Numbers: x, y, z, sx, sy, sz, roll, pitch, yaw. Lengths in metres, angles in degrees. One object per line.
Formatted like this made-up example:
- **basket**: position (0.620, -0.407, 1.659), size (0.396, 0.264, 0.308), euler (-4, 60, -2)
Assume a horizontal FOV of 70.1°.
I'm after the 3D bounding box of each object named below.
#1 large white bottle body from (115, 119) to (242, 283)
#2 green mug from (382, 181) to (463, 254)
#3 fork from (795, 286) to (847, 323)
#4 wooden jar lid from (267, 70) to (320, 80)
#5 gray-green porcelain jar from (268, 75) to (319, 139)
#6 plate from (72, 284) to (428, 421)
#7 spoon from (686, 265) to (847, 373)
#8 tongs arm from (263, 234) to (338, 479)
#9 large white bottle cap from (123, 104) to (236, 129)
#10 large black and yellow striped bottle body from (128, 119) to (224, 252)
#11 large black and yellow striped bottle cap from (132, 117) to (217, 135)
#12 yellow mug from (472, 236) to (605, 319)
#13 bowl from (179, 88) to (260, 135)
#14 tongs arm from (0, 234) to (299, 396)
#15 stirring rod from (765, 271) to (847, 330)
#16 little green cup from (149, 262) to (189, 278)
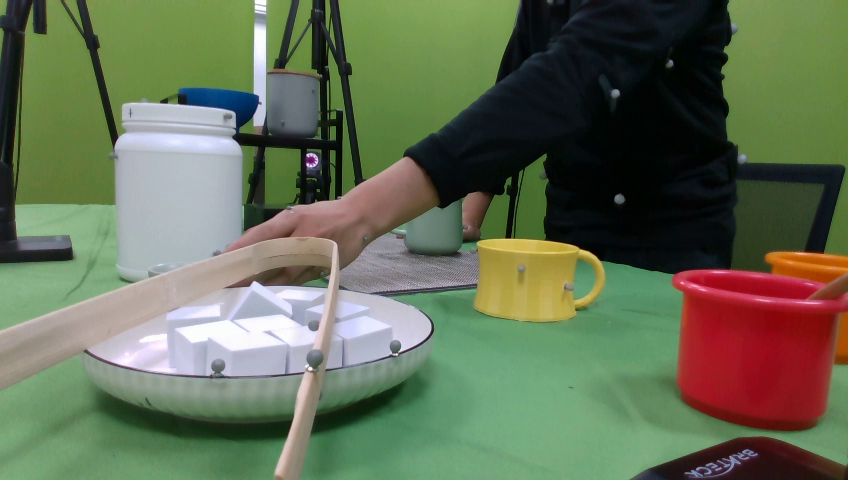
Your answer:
- **large white bottle body**: position (-0.270, -0.051, 0.674), size (0.131, 0.184, 0.130), euler (2, 8, 0)
- **green mug**: position (-0.001, -0.036, 0.922), size (0.126, 0.105, 0.092), euler (0, 8, -16)
- **fork**: position (0.332, 0.018, 0.443), size (0.028, 0.018, 0.207), euler (-3, -35, -16)
- **wooden jar lid**: position (-0.275, -0.339, 1.271), size (0.108, 0.020, 0.108), euler (5, 6, 0)
- **gray-green porcelain jar**: position (-0.277, -0.278, 1.280), size (0.106, 0.126, 0.106), euler (2, 8, 0)
- **plate**: position (-0.102, 0.067, 0.381), size (0.208, 0.039, 0.207), euler (3, 7, 0)
- **spoon**: position (0.214, 0.032, 0.327), size (0.042, 0.021, 0.193), euler (-2, -35, -26)
- **tongs arm**: position (-0.074, 0.039, 0.345), size (0.051, 0.026, 0.384), euler (-2, 10, -3)
- **large white bottle cap**: position (-0.266, -0.134, 0.663), size (0.115, 0.018, 0.115), euler (3, 7, 0)
- **large black and yellow striped bottle body**: position (-0.361, -0.081, 0.887), size (0.131, 0.184, 0.130), euler (2, 8, 0)
- **large black and yellow striped bottle cap**: position (-0.359, -0.164, 0.875), size (0.115, 0.019, 0.115), euler (2, 6, 0)
- **yellow mug**: position (0.114, 0.034, 0.590), size (0.131, 0.064, 0.100), euler (3, 6, -7)
- **bowl**: position (-0.400, -0.248, 1.188), size (0.151, 0.077, 0.151), euler (3, 6, 0)
- **tongs arm**: position (-0.158, 0.038, 0.347), size (0.028, 0.028, 0.388), euler (-3, 9, 11)
- **stirring rod**: position (0.352, 0.020, 0.481), size (0.176, 0.006, 0.014), euler (-40, -7, 17)
- **little green cup**: position (-0.208, 0.043, 0.530), size (0.061, 0.038, 0.061), euler (4, 7, 0)
